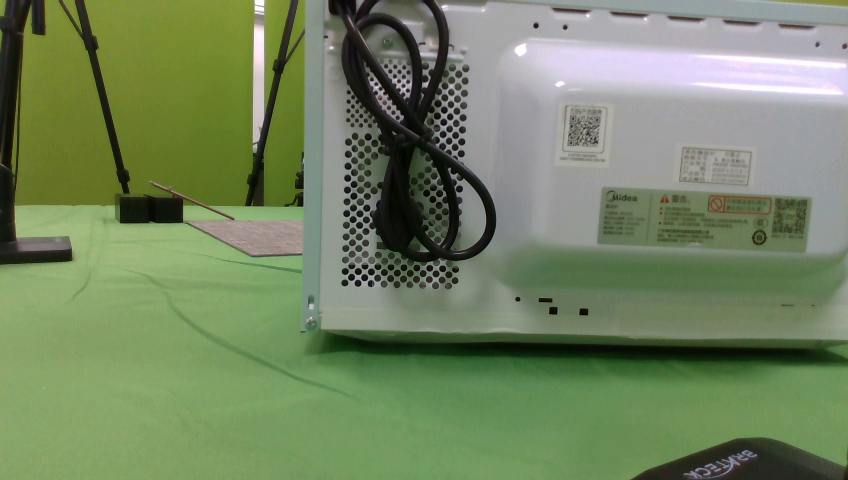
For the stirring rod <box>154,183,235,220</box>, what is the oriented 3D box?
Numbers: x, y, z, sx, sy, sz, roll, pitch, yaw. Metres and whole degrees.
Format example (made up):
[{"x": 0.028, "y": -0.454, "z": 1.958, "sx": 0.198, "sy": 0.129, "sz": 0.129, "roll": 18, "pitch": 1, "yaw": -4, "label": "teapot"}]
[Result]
[{"x": -0.472, "y": -0.079, "z": 1.252, "sx": 0.177, "sy": 0.006, "sz": 0.014, "roll": 27, "pitch": 4, "yaw": -35, "label": "stirring rod"}]

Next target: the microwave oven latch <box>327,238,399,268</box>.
[{"x": -0.069, "y": 0.015, "z": 0.694, "sx": 0.079, "sy": 0.029, "sz": 0.030, "roll": 3, "pitch": 7, "yaw": -3, "label": "microwave oven latch"}]

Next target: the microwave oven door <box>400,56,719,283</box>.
[{"x": 0.155, "y": -0.077, "z": 0.697, "sx": 0.356, "sy": 0.243, "sz": 0.039, "roll": 2, "pitch": 8, "yaw": -5, "label": "microwave oven door"}]

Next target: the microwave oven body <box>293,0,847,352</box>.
[{"x": 0.122, "y": -0.055, "z": 0.550, "sx": 0.442, "sy": 0.260, "sz": 0.325, "roll": 3, "pitch": 7, "yaw": -5, "label": "microwave oven body"}]
